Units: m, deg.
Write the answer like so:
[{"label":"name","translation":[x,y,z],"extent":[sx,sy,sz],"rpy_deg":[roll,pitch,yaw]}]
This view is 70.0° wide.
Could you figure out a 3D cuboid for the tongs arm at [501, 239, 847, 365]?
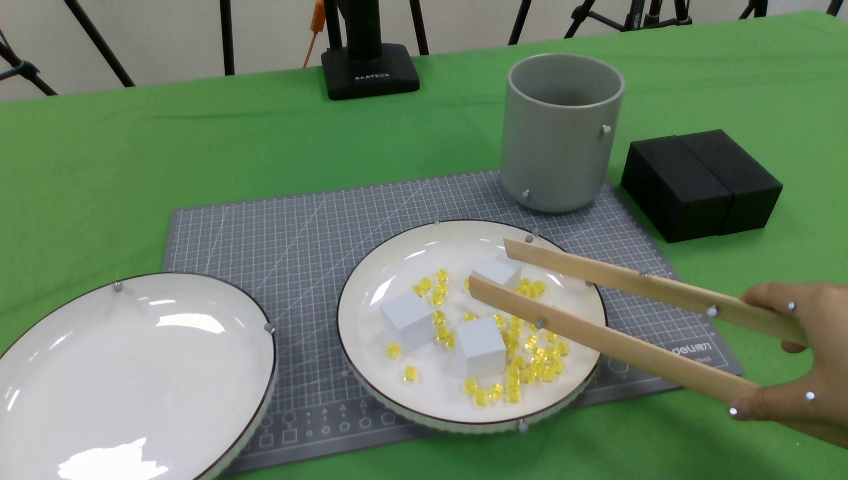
[{"label":"tongs arm","translation":[0.210,0.065,0.392],"extent":[0.382,0.027,0.050],"rpy_deg":[16,46,32]}]

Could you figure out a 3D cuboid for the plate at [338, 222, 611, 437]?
[{"label":"plate","translation":[0.038,0.066,0.478],"extent":[0.208,0.039,0.205],"rpy_deg":[0,42,1]}]

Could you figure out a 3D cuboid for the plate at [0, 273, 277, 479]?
[{"label":"plate","translation":[-0.208,0.110,0.434],"extent":[0.209,0.038,0.207],"rpy_deg":[-1,43,2]}]

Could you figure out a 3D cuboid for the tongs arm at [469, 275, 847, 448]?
[{"label":"tongs arm","translation":[0.191,0.084,0.375],"extent":[0.384,0.028,0.028],"rpy_deg":[18,44,33]}]

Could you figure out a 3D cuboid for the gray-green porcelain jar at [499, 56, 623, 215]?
[{"label":"gray-green porcelain jar","translation":[0.127,-0.096,0.588],"extent":[0.106,0.127,0.105],"rpy_deg":[-1,42,1]}]
